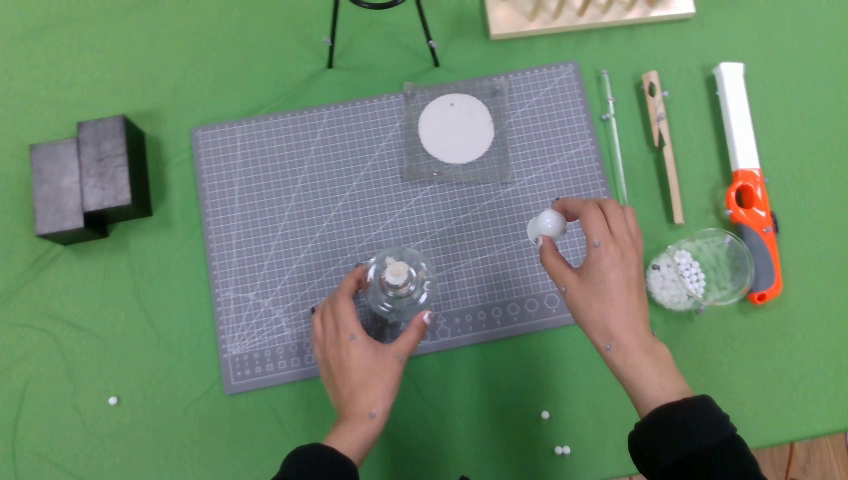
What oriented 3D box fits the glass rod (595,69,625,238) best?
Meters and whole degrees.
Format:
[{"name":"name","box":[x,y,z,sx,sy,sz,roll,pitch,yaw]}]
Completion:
[{"name":"glass rod","box":[0.211,-0.100,0.687,0.008,0.008,0.199,-6,82,-2]}]

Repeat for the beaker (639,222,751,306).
[{"name":"beaker","box":[0.267,0.028,0.619,0.084,0.100,0.074,20,79,4]}]

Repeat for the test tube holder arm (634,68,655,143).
[{"name":"test tube holder arm","box":[0.256,-0.154,0.694,0.010,0.015,0.087,-15,78,31]}]

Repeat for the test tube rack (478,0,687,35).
[{"name":"test tube rack","box":[0.186,-0.297,0.684,0.242,0.085,0.066,-7,79,-2]}]

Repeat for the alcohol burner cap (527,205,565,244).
[{"name":"alcohol burner cap","box":[0.118,-0.017,0.576,0.034,0.048,0.033,1,77,-3]}]

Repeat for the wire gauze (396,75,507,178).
[{"name":"wire gauze","box":[0.031,-0.130,0.688,0.125,0.011,0.121,0,81,-2]}]

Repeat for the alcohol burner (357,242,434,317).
[{"name":"alcohol burner","box":[-0.030,0.036,0.602,0.078,0.119,0.077,0,78,1]}]

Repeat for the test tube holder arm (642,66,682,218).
[{"name":"test tube holder arm","box":[0.267,-0.111,0.683,0.013,0.015,0.177,-16,78,31]}]

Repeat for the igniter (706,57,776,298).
[{"name":"igniter","box":[0.352,-0.073,0.675,0.057,0.025,0.275,-2,79,-12]}]

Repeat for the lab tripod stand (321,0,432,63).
[{"name":"lab tripod stand","box":[-0.056,-0.254,0.648,0.148,0.132,0.148,0,81,-1]}]
